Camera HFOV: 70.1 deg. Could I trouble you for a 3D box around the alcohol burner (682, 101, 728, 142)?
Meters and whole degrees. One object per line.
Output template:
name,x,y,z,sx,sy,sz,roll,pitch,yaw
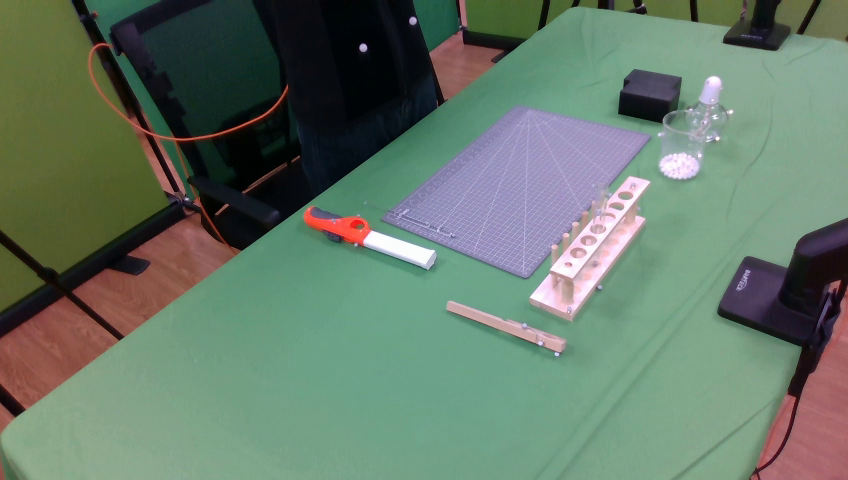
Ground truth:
alcohol burner,0.513,-0.239,1.097,0.078,0.119,0.077,-4,40,4

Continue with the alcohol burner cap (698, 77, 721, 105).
alcohol burner cap,0.509,-0.266,1.072,0.034,0.048,0.033,-4,48,5

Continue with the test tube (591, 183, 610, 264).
test tube,0.242,-0.019,0.832,0.017,0.151,0.017,-5,46,6

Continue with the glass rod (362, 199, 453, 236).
glass rod,-0.031,-0.041,1.041,0.198,0.008,0.008,22,50,31

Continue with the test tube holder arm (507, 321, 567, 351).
test tube holder arm,0.148,0.128,0.808,0.087,0.015,0.010,16,11,28

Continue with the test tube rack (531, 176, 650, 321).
test tube rack,0.246,0.002,0.884,0.066,0.085,0.243,22,49,32

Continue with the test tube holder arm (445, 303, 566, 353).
test tube holder arm,0.107,0.117,0.824,0.177,0.015,0.013,16,11,27

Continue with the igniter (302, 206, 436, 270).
igniter,-0.101,-0.007,1.004,0.274,0.025,0.057,19,58,29

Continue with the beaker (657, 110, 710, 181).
beaker,0.438,-0.156,1.024,0.074,0.101,0.083,-14,41,-4
